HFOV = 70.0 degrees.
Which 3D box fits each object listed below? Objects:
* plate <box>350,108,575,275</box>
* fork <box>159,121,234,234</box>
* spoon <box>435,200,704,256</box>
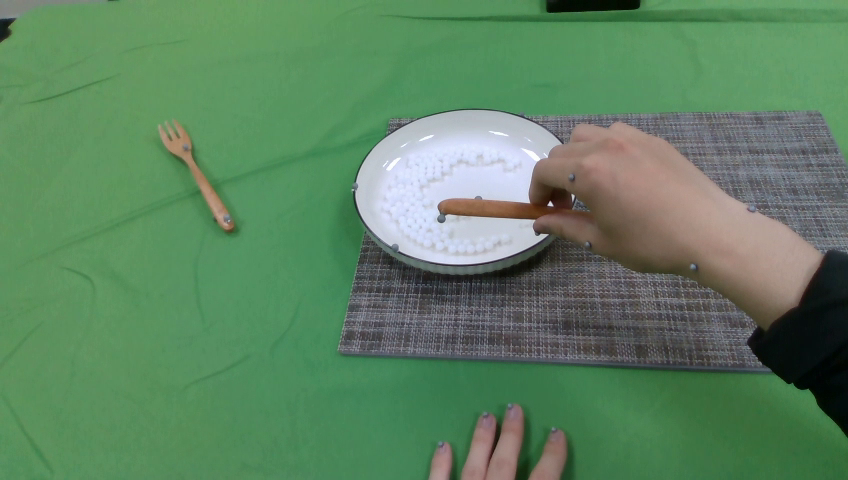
[{"bbox_3d":[0.035,-0.046,0.571,0.207,0.039,0.205,-4,49,5],"label":"plate"},{"bbox_3d":[-0.243,-0.070,0.646,0.028,0.019,0.205,-25,49,-22],"label":"fork"},{"bbox_3d":[0.105,-0.016,0.440,0.194,0.021,0.041,6,85,-4],"label":"spoon"}]
